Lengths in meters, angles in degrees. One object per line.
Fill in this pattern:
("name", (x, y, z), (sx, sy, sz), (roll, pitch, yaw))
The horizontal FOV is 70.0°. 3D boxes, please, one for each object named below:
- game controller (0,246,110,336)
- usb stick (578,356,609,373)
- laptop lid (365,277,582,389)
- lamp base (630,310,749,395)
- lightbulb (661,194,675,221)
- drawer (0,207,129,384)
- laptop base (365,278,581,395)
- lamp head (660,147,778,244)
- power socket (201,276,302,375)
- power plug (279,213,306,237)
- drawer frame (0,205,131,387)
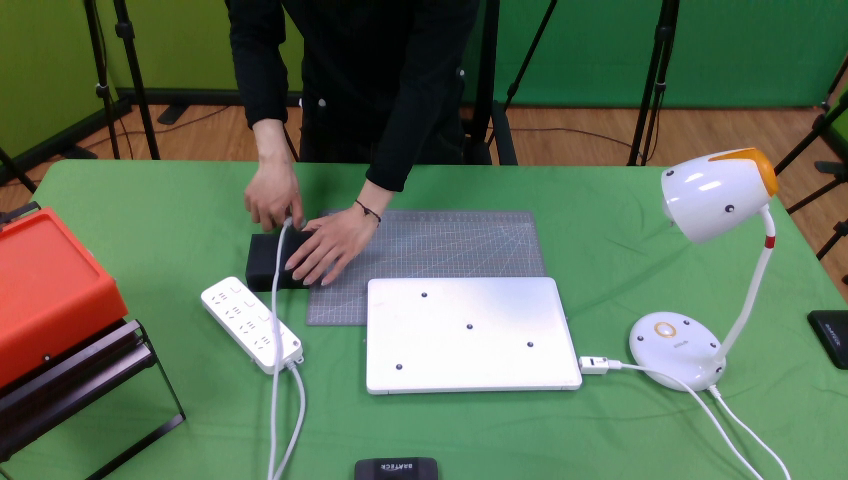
("game controller", (-0.511, 0.062, 0.830), (0.097, 0.052, 0.154), (-30, 58, -32))
("usb stick", (0.274, 0.207, 1.008), (0.059, 0.027, 0.021), (0, 51, 0))
("laptop lid", (0.077, 0.152, 1.046), (0.357, 0.013, 0.240), (1, 45, -3))
("lamp base", (0.447, 0.142, 0.984), (0.161, 0.181, 0.178), (-24, 55, -24))
("lightbulb", (0.369, -0.060, 0.807), (0.060, 0.107, 0.059), (19, 59, -36))
("drawer", (-0.540, 0.074, 0.798), (0.193, 0.073, 0.211), (37, 55, 27))
("laptop base", (0.076, 0.162, 1.053), (0.355, 0.023, 0.234), (0, 44, -4))
("lamp head", (0.389, -0.063, 0.784), (0.123, 0.113, 0.112), (-22, 33, 37))
("power socket", (-0.296, 0.142, 1.034), (0.072, 0.033, 0.225), (-34, 58, -31))
("power plug", (-0.262, -0.022, 1.189), (0.035, 0.053, 0.072), (18, 57, 31))
("drawer frame", (-0.540, 0.075, 0.795), (0.200, 0.083, 0.213), (36, 54, 26))
